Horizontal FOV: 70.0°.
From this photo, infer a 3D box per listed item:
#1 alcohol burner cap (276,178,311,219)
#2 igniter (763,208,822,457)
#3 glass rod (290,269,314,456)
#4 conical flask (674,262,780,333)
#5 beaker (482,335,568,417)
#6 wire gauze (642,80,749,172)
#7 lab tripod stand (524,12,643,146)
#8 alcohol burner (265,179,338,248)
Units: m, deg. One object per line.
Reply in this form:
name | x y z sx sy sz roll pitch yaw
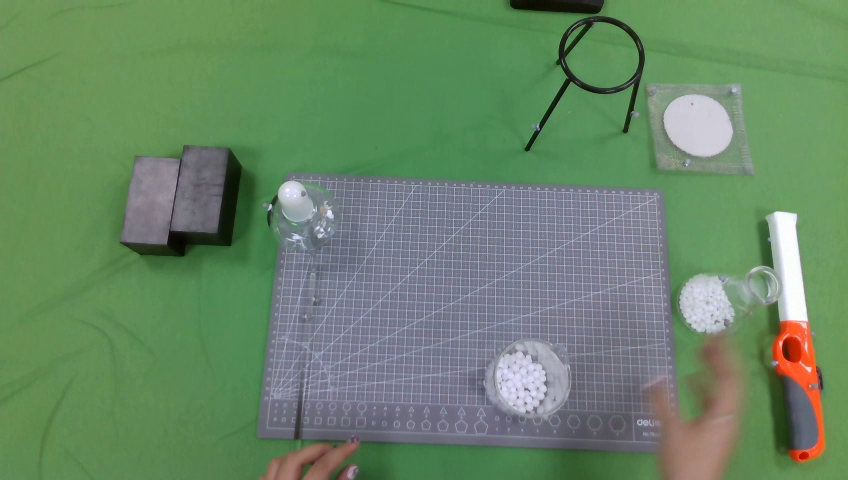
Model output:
alcohol burner cap | -0.133 -0.045 0.611 0.034 0.048 0.033 1 67 -3
igniter | 0.411 0.097 0.678 0.057 0.025 0.275 6 75 -12
glass rod | -0.131 0.129 0.656 0.008 0.008 0.199 4 78 -1
conical flask | 0.321 0.054 0.637 0.075 0.122 0.075 0 74 -1
beaker | 0.101 0.137 0.616 0.084 0.100 0.073 -39 79 -12
wire gauze | 0.337 -0.144 0.749 0.125 0.011 0.121 1 75 -3
lab tripod stand | 0.179 -0.176 0.687 0.148 0.132 0.147 0 77 -2
alcohol burner | -0.134 -0.034 0.645 0.078 0.119 0.077 0 75 0
